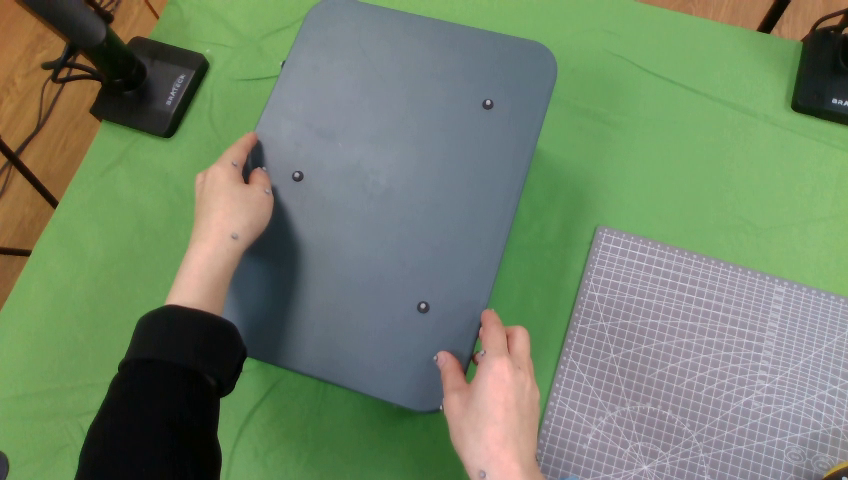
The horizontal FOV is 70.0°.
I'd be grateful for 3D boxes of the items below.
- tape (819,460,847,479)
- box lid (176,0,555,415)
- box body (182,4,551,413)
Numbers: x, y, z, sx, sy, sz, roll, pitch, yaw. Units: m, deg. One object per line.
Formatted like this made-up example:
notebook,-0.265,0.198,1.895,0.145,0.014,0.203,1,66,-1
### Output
tape,0.437,0.265,0.569,0.117,0.053,0.116,-1,72,4
box lid,-0.045,-0.053,0.561,0.263,0.015,0.370,16,74,8
box body,-0.041,-0.027,0.632,0.253,0.161,0.362,16,74,8
